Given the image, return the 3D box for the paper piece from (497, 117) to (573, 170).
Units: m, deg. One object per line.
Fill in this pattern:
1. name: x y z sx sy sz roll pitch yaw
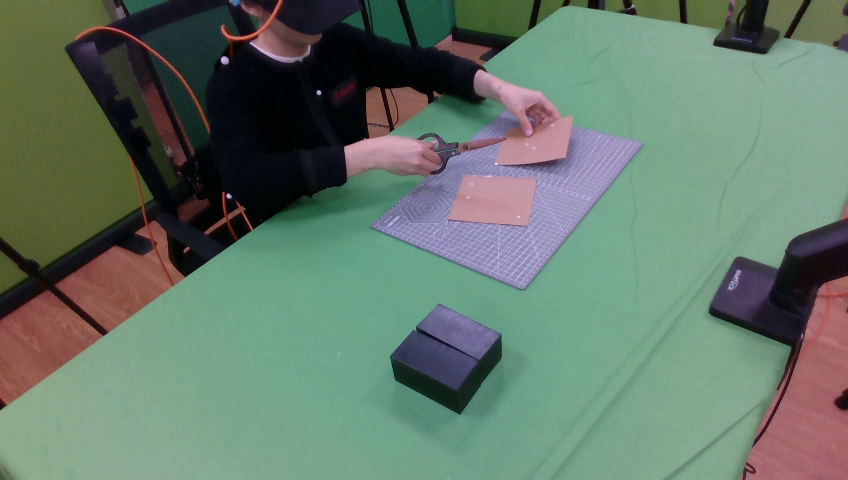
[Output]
1. paper piece: 0.213 -0.186 1.153 0.134 0.004 0.135 -6 41 27

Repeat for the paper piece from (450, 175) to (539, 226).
1. paper piece: 0.125 -0.072 1.051 0.135 0.009 0.138 3 42 18

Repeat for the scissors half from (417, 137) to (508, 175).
1. scissors half: 0.067 -0.151 1.066 0.174 0.040 0.013 -18 6 23

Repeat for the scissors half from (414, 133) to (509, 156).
1. scissors half: 0.063 -0.171 1.064 0.174 0.040 0.013 1 8 21
